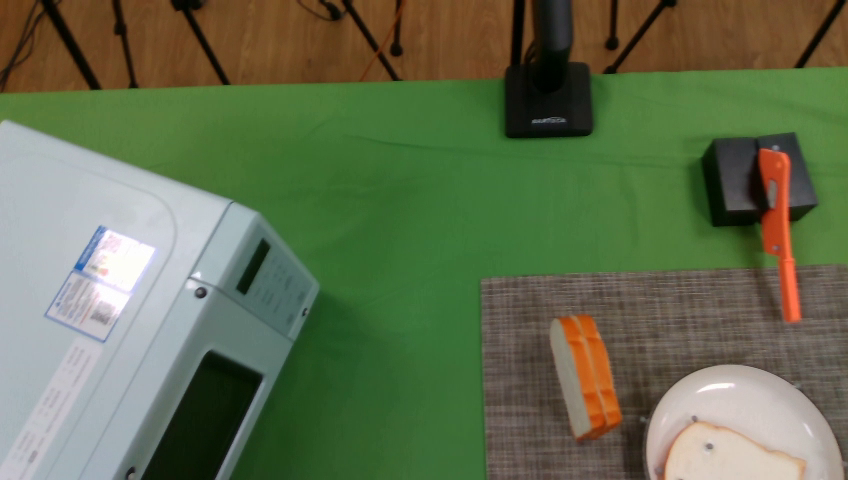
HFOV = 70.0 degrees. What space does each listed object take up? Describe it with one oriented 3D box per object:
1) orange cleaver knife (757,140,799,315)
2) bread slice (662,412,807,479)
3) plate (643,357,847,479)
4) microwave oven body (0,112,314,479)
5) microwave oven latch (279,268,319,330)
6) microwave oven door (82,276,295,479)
[{"bbox_3d":[0.421,-0.018,0.726,0.012,0.077,0.211,-6,91,5],"label":"orange cleaver knife"},{"bbox_3d":[0.329,0.251,0.654,0.134,0.018,0.106,21,70,14],"label":"bread slice"},{"bbox_3d":[0.344,0.234,0.662,0.207,0.039,0.206,-1,70,4],"label":"plate"},{"bbox_3d":[-0.369,0.145,0.638,0.325,0.262,0.440,19,74,11],"label":"microwave oven body"},{"bbox_3d":[-0.157,0.070,0.750,0.030,0.030,0.079,21,74,12],"label":"microwave oven latch"},{"bbox_3d":[-0.250,0.227,0.593,0.039,0.245,0.354,19,73,12],"label":"microwave oven door"}]
